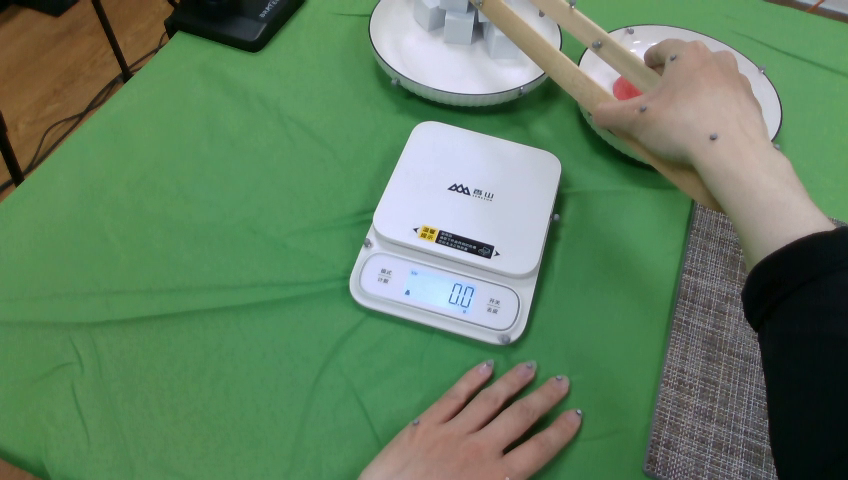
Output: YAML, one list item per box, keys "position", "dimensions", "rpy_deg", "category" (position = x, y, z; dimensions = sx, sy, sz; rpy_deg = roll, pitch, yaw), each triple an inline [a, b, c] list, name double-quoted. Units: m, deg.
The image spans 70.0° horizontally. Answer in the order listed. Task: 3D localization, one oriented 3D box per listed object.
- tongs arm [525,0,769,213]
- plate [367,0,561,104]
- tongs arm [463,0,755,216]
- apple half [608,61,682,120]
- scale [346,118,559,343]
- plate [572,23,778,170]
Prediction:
- position: [0.157, -0.161, 0.543]
  dimensions: [0.051, 0.027, 0.380]
  rpy_deg: [-19, 53, -25]
  category: "tongs arm"
- position: [0.042, -0.218, 0.662]
  dimensions: [0.208, 0.039, 0.205]
  rpy_deg: [2, 56, -2]
  category: "plate"
- position: [0.123, -0.151, 0.528]
  dimensions: [0.028, 0.028, 0.383]
  rpy_deg: [-16, 52, -28]
  category: "tongs arm"
- position: [0.237, -0.162, 0.631]
  dimensions: [0.081, 0.033, 0.080]
  rpy_deg: [1, 52, -1]
  category: "apple half"
- position: [0.030, -0.017, 0.528]
  dimensions: [0.148, 0.032, 0.199]
  rpy_deg: [16, 57, 7]
  category: "scale"
- position: [0.253, -0.147, 0.628]
  dimensions: [0.209, 0.038, 0.207]
  rpy_deg: [2, 55, -3]
  category: "plate"
